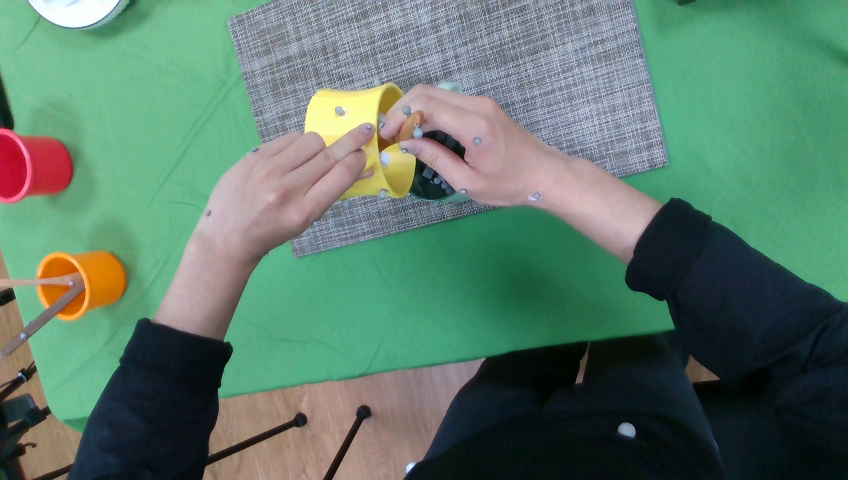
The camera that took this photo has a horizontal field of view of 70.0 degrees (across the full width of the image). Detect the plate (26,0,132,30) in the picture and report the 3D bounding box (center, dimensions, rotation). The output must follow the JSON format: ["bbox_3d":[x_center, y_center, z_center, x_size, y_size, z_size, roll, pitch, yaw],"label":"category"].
[{"bbox_3d":[-0.436,-0.374,0.773,0.207,0.039,0.208,3,100,17],"label":"plate"}]

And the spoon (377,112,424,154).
[{"bbox_3d":[-0.025,-0.081,0.477,0.022,0.193,0.041,14,88,-18],"label":"spoon"}]

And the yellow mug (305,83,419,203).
[{"bbox_3d":[-0.056,-0.077,0.525,0.064,0.130,0.101,-2,118,20],"label":"yellow mug"}]

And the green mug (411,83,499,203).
[{"bbox_3d":[0.025,-0.099,0.629,0.092,0.105,0.125,4,99,18],"label":"green mug"}]

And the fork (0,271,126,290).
[{"bbox_3d":[-0.512,0.058,0.807,0.208,0.018,0.028,-1,97,-26],"label":"fork"}]

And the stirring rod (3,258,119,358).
[{"bbox_3d":[-0.482,0.088,0.808,0.014,0.006,0.175,37,66,8],"label":"stirring rod"}]
